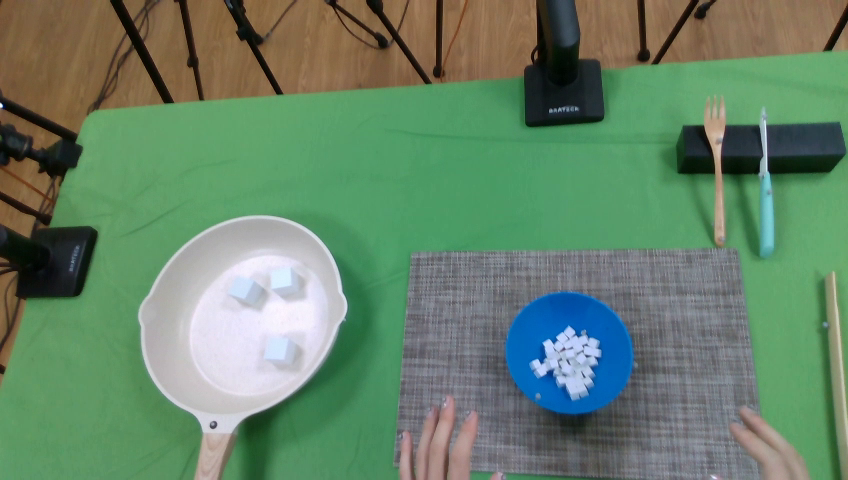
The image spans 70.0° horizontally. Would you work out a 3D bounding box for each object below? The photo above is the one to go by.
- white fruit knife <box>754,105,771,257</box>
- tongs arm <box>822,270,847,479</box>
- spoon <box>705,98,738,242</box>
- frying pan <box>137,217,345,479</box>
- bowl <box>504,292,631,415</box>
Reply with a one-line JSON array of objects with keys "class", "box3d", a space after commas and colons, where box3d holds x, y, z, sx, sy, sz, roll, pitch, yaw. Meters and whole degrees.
[{"class": "white fruit knife", "box3d": [0.450, -0.081, 0.811, 0.016, 0.027, 0.206, 1, 81, 6]}, {"class": "tongs arm", "box3d": [0.494, 0.218, 0.703, 0.028, 0.028, 0.385, 3, 68, 10]}, {"class": "spoon", "box3d": [0.396, -0.094, 0.821, 0.041, 0.022, 0.193, 6, 88, 37]}, {"class": "frying pan", "box3d": [-0.261, 0.199, 0.811, 0.306, 0.104, 0.483, -1, 58, 11]}, {"class": "bowl", "box3d": [0.177, 0.148, 0.760, 0.151, 0.077, 0.150, -4, 66, 9]}]
